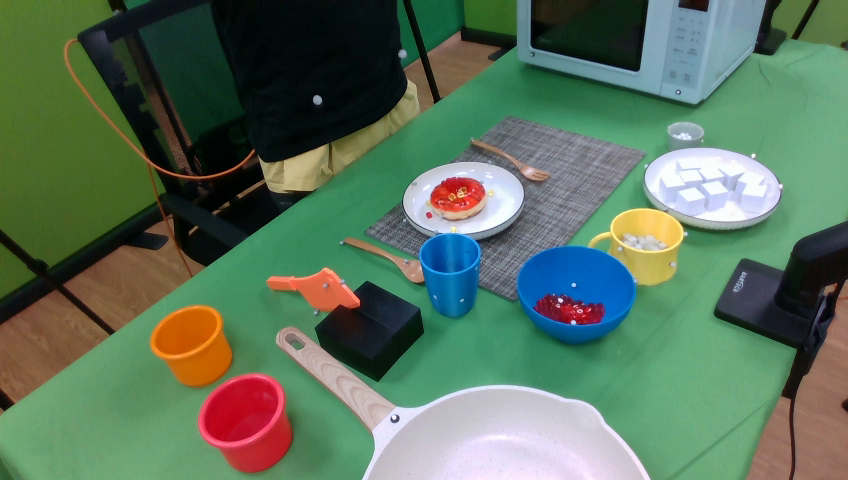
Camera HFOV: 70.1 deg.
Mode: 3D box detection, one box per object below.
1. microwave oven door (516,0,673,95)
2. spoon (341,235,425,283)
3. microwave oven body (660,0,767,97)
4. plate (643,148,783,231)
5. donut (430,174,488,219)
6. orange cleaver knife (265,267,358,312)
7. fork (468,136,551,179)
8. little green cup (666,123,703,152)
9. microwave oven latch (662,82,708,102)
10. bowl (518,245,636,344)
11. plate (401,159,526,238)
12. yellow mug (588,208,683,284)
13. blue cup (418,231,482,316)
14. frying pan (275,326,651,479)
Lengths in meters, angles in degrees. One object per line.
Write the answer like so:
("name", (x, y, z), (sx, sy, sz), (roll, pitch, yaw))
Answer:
("microwave oven door", (0.344, -0.458, 1.257), (0.353, 0.245, 0.039), (26, 51, 33))
("spoon", (-0.061, 0.023, 0.953), (0.192, 0.022, 0.041), (24, 70, 30))
("microwave oven body", (0.474, -0.516, 1.314), (0.438, 0.261, 0.327), (26, 51, 34))
("plate", (0.465, -0.080, 0.986), (0.207, 0.039, 0.206), (-4, 41, 4))
("donut", (0.058, -0.075, 1.015), (0.099, 0.048, 0.098), (-6, 38, 5))
("orange cleaver knife", (-0.164, 0.073, 0.864), (0.210, 0.077, 0.012), (-6, 32, 50))
("fork", (0.154, -0.156, 1.126), (0.028, 0.019, 0.205), (-39, 50, -18))
("little green cup", (0.472, -0.183, 1.103), (0.061, 0.039, 0.061), (-5, 40, 5))
("microwave oven latch", (0.518, -0.298, 1.203), (0.078, 0.029, 0.030), (28, 53, 35))
("bowl", (0.200, 0.084, 0.803), (0.151, 0.077, 0.150), (-4, 40, 4))
("plate", (0.067, -0.065, 1.019), (0.209, 0.038, 0.208), (-4, 40, 4))
("yellow mug", (0.305, 0.009, 0.884), (0.131, 0.064, 0.099), (-4, 41, 5))
("blue cup", (0.040, 0.052, 0.843), (0.092, 0.100, 0.092), (-4, 43, 4))
("frying pan", (0.004, 0.229, 0.641), (0.484, 0.103, 0.308), (34, 54, 28))
